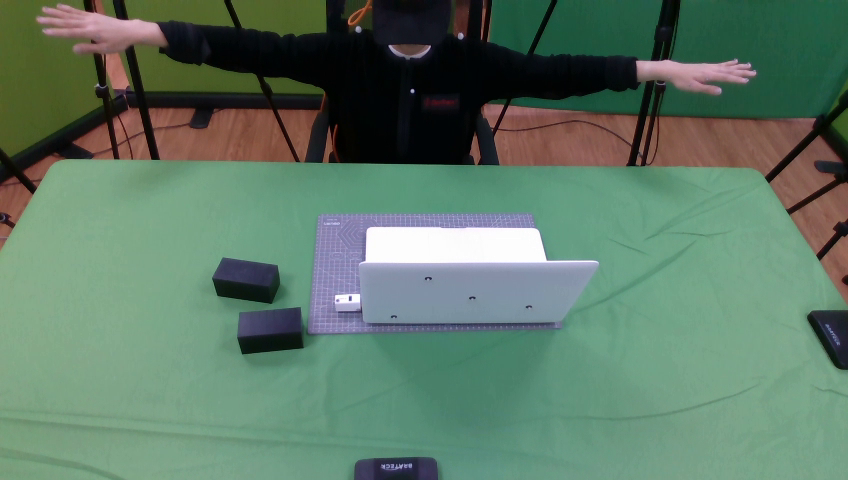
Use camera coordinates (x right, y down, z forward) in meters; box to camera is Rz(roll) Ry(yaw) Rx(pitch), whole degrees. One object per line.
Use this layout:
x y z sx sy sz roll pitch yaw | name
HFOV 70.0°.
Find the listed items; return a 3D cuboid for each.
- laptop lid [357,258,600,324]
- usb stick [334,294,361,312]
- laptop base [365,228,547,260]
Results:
0.075 0.087 0.959 0.357 0.242 0.013 1 60 -5 | laptop lid
-0.128 0.111 1.066 0.059 0.027 0.021 1 45 -6 | usb stick
0.064 0.062 1.144 0.355 0.023 0.234 0 43 -4 | laptop base
